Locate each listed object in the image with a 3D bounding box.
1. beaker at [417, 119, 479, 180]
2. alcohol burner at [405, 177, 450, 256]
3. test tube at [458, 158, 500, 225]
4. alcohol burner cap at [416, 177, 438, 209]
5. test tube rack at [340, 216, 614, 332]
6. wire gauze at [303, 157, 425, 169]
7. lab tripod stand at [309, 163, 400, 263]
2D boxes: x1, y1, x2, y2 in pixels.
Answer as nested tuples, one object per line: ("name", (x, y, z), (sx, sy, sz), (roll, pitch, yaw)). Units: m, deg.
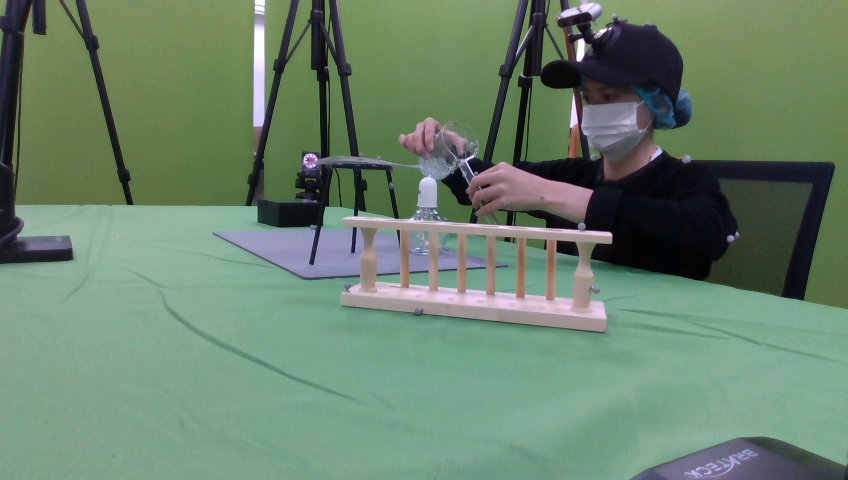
("beaker", (0.039, -0.152, 1.064), (0.074, 0.084, 0.100), (7, -22, -29))
("alcohol burner", (0.004, -0.036, 0.917), (0.078, 0.119, 0.078), (4, 6, 0))
("test tube", (0.088, -0.076, 0.974), (0.017, 0.017, 0.149), (-2, 50, -29))
("alcohol burner cap", (0.005, -0.072, 0.914), (0.034, 0.048, 0.034), (3, 10, 0))
("test tube rack", (0.048, 0.026, 0.568), (0.242, 0.085, 0.067), (4, 8, 13))
("wire gauze", (-0.082, -0.102, 0.799), (0.126, 0.011, 0.121), (-1, 7, -30))
("lab tripod stand", (-0.091, -0.037, 0.813), (0.148, 0.131, 0.148), (1, 6, 0))
